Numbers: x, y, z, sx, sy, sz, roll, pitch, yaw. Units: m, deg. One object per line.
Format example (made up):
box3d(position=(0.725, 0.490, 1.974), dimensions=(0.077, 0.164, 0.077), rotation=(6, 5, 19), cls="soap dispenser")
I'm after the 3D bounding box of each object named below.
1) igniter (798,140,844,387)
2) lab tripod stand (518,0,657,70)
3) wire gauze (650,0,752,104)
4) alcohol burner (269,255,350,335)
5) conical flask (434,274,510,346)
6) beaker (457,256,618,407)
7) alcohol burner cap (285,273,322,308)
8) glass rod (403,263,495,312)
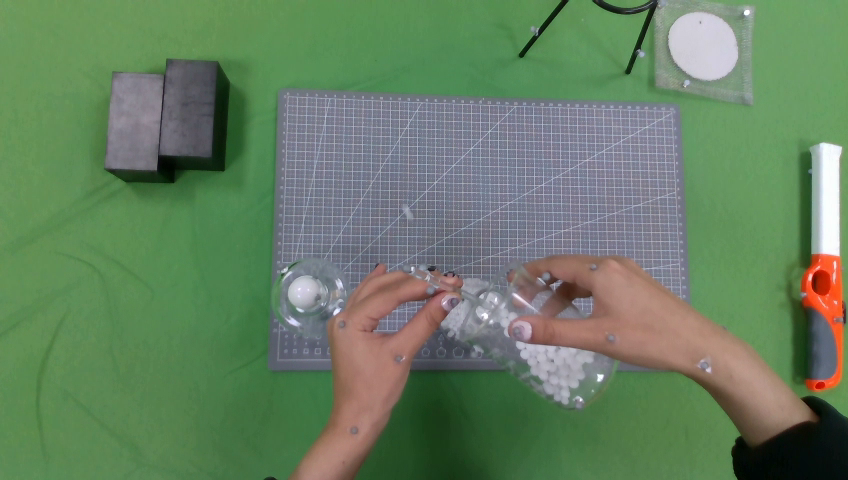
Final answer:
box3d(position=(0.442, 0.024, 0.674), dimensions=(0.057, 0.025, 0.275), rotation=(8, 82, -15), cls="igniter")
box3d(position=(0.179, -0.247, 0.634), dimensions=(0.148, 0.131, 0.148), rotation=(0, 84, -4), cls="lab tripod stand")
box3d(position=(0.324, -0.227, 0.707), dimensions=(0.125, 0.011, 0.121), rotation=(7, 82, -6), cls="wire gauze")
box3d(position=(-0.111, 0.051, 0.575), dimensions=(0.078, 0.119, 0.077), rotation=(0, 81, -2), cls="alcohol burner")
box3d(position=(0.052, 0.065, 0.583), dimensions=(0.075, 0.122, 0.075), rotation=(1, 81, -4), cls="conical flask")
box3d(position=(0.085, 0.071, 0.455), dimensions=(0.100, 0.084, 0.074), rotation=(36, 85, -5), cls="beaker")
box3d(position=(-0.108, 0.045, 0.539), dimensions=(0.034, 0.048, 0.034), rotation=(1, 85, -8), cls="alcohol burner cap")
box3d(position=(0.026, 0.040, 0.469), dimensions=(0.008, 0.201, 0.008), rotation=(-5, 74, 21), cls="glass rod")
